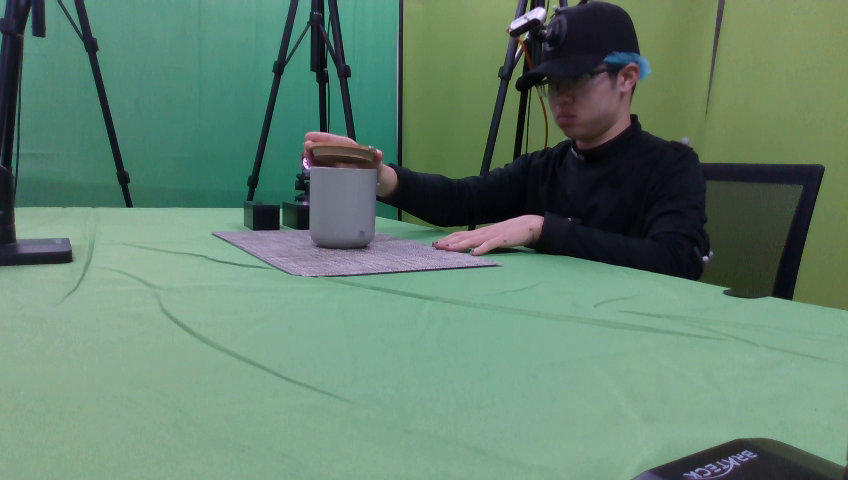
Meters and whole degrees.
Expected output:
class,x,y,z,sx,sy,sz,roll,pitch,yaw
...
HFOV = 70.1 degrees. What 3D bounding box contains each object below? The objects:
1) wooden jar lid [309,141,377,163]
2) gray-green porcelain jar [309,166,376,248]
class,x,y,z,sx,sy,sz,roll,pitch,yaw
wooden jar lid,-0.130,-0.140,0.968,0.108,0.020,0.108,5,-1,0
gray-green porcelain jar,-0.130,-0.054,0.965,0.106,0.126,0.106,2,7,0
